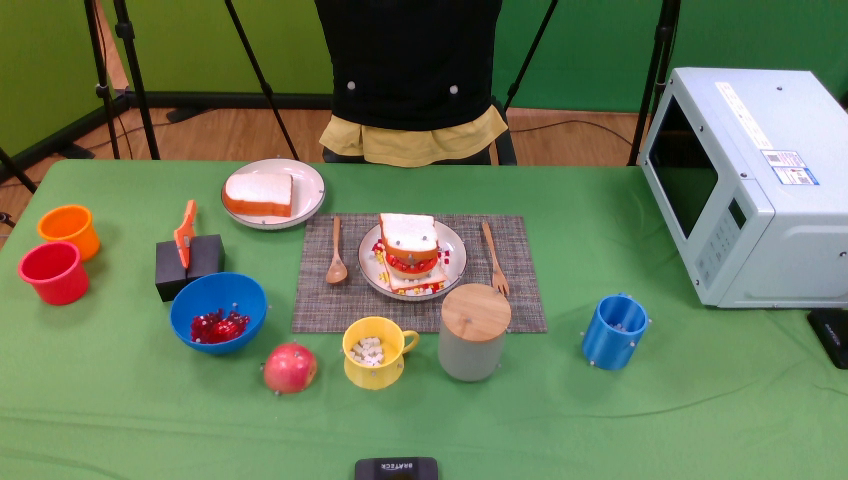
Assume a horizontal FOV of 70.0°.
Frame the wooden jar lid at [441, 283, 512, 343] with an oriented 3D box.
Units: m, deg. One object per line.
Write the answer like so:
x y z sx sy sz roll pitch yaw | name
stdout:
0.080 0.114 0.931 0.108 0.021 0.107 1 49 0 | wooden jar lid

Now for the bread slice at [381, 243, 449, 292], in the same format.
-0.026 0.039 1.139 0.107 0.018 0.133 -12 47 -16 | bread slice

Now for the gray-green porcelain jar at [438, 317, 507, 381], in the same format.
0.076 0.158 0.977 0.106 0.127 0.105 2 47 -2 | gray-green porcelain jar

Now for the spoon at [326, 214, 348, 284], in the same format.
-0.167 0.013 1.164 0.041 0.022 0.192 -19 47 11 | spoon

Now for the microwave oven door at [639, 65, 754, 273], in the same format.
0.522 -0.147 1.193 0.039 0.245 0.353 0 47 -3 | microwave oven door

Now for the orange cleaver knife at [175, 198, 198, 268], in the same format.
-0.438 -0.017 1.138 0.012 0.077 0.210 -13 27 -7 | orange cleaver knife

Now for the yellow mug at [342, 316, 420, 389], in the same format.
-0.067 0.177 0.991 0.131 0.064 0.099 -16 50 -19 | yellow mug

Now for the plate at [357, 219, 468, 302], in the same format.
-0.021 0.037 1.141 0.208 0.039 0.206 2 46 -2 | plate

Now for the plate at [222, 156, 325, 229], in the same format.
-0.308 -0.095 1.251 0.209 0.038 0.208 2 47 -2 | plate

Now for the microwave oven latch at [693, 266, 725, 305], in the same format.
0.523 0.082 1.116 0.030 0.029 0.078 3 46 0 | microwave oven latch

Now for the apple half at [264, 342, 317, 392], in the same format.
-0.214 0.198 0.970 0.074 0.053 0.080 19 48 11 | apple half

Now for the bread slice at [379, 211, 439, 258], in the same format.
-0.024 -0.012 1.064 0.105 0.019 0.130 3 33 -10 | bread slice

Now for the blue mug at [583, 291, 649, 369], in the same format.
0.324 0.142 1.023 0.082 0.106 0.116 15 47 11 | blue mug

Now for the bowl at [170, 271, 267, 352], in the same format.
-0.333 0.132 1.006 0.151 0.077 0.150 2 46 -2 | bowl

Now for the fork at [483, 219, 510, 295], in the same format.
0.136 0.029 1.172 0.028 0.019 0.206 -11 48 2 | fork

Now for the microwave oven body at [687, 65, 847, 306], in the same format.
0.669 -0.111 1.176 0.326 0.261 0.439 0 46 -3 | microwave oven body

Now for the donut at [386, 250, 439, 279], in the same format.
-0.021 0.028 1.110 0.099 0.048 0.098 2 45 -2 | donut
